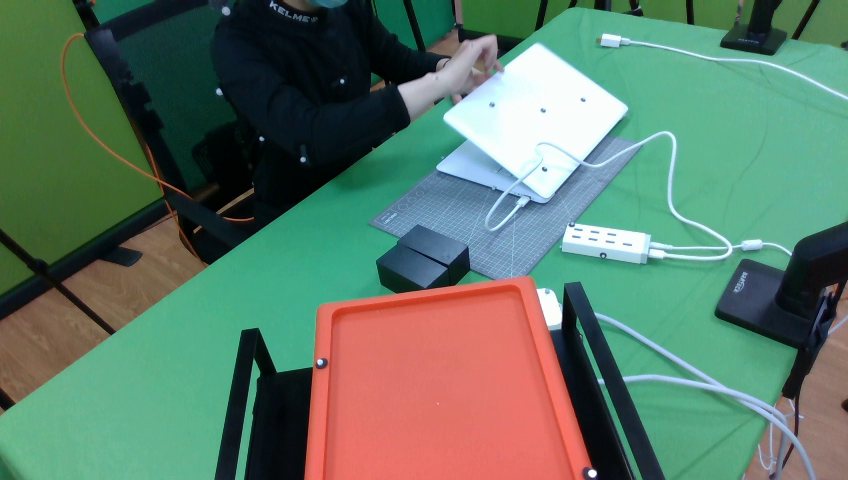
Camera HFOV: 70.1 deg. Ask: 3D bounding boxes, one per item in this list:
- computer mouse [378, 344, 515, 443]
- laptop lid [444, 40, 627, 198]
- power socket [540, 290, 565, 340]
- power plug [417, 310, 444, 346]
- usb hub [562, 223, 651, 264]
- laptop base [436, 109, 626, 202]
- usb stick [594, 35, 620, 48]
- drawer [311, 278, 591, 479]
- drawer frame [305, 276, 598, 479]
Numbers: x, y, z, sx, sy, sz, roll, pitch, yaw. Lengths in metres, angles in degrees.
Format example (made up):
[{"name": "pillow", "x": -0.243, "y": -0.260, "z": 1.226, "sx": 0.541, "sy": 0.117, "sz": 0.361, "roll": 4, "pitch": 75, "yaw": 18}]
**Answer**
[{"name": "computer mouse", "x": 0.018, "y": 0.126, "z": 0.521, "sx": 0.116, "sy": 0.041, "sz": 0.063, "roll": 13, "pitch": 47, "yaw": 30}, {"name": "laptop lid", "x": 0.220, "y": -0.240, "z": 1.120, "sx": 0.241, "sy": 0.013, "sz": 0.358, "roll": 42, "pitch": 54, "yaw": 8}, {"name": "power socket", "x": 0.081, "y": 0.112, "z": 0.822, "sx": 0.227, "sy": 0.033, "sz": 0.072, "roll": -6, "pitch": 41, "yaw": 0}, {"name": "power plug", "x": 0.007, "y": 0.122, "z": 0.785, "sx": 0.035, "sy": 0.053, "sz": 0.072, "roll": 0, "pitch": 39, "yaw": 7}, {"name": "usb hub", "x": 0.279, "y": 0.004, "z": 0.926, "sx": 0.124, "sy": 0.025, "sz": 0.049, "roll": 10, "pitch": 43, "yaw": 19}, {"name": "laptop base", "x": 0.215, "y": -0.192, "z": 1.171, "sx": 0.233, "sy": 0.023, "sz": 0.355, "roll": 19, "pitch": 46, "yaw": 32}, {"name": "usb stick", "x": 0.443, "y": -0.482, "z": 1.466, "sx": 0.059, "sy": 0.021, "sz": 0.027, "roll": 10, "pitch": 43, "yaw": 9}, {"name": "drawer", "x": 0.013, "y": 0.137, "z": 0.489, "sx": 0.195, "sy": 0.073, "sz": 0.210, "roll": -7, "pitch": 41, "yaw": 0}, {"name": "drawer frame", "x": 0.014, "y": 0.137, "z": 0.486, "sx": 0.202, "sy": 0.083, "sz": 0.212, "roll": -8, "pitch": 41, "yaw": -1}]
